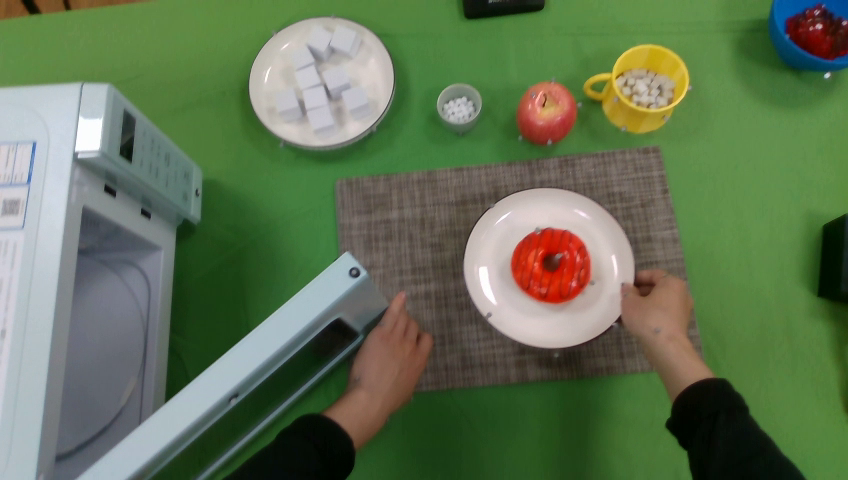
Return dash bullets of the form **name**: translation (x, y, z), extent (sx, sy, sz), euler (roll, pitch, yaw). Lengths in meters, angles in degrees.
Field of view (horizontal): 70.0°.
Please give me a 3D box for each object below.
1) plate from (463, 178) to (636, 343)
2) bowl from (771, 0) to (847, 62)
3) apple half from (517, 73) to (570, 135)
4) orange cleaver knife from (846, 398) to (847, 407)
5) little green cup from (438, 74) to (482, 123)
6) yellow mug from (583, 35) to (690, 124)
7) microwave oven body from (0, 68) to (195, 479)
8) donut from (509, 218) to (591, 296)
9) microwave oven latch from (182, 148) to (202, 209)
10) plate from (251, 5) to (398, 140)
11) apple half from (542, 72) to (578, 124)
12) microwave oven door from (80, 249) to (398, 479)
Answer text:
- **plate**: translation (0.152, 0.025, 0.749), extent (0.209, 0.038, 0.208), euler (-2, 73, 7)
- **bowl**: translation (0.540, -0.300, 0.824), extent (0.151, 0.077, 0.150), euler (-1, 76, 4)
- **apple half**: translation (0.153, -0.175, 0.816), extent (0.053, 0.075, 0.080), euler (-32, 80, -1)
- **orange cleaver knife**: translation (0.542, 0.101, 0.719), extent (0.012, 0.077, 0.212), euler (13, 109, 8)
- **little green cup**: translation (0.050, -0.195, 0.844), extent (0.061, 0.039, 0.061), euler (-1, 75, 3)
- **yellow mug**: translation (0.284, -0.217, 0.823), extent (0.131, 0.064, 0.099), euler (5, 76, 5)
- **microwave oven body**: translation (-0.464, 0.071, 0.685), extent (0.326, 0.261, 0.439), euler (-3, 76, 2)
- **donut**: translation (0.154, 0.021, 0.739), extent (0.099, 0.048, 0.098), euler (-2, 74, 7)
- **microwave oven latch**: translation (-0.317, -0.083, 0.815), extent (0.030, 0.029, 0.079), euler (-1, 77, 2)
- **plate**: translation (-0.138, -0.235, 0.863), extent (0.207, 0.039, 0.206), euler (-1, 76, 3)
- **apple half**: translation (0.187, -0.196, 0.818), extent (0.033, 0.082, 0.081), euler (-33, 76, -1)
- **microwave oven door**: translation (-0.184, 0.158, 0.643), extent (0.355, 0.245, 0.039), euler (-41, 76, -7)
